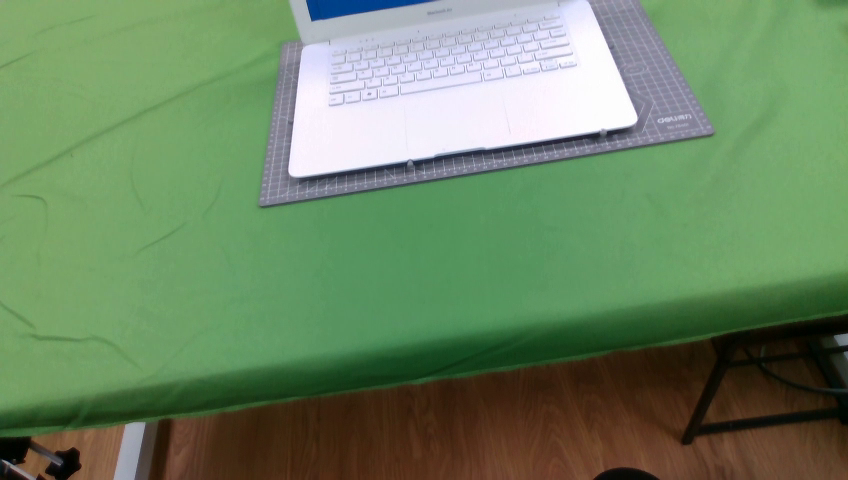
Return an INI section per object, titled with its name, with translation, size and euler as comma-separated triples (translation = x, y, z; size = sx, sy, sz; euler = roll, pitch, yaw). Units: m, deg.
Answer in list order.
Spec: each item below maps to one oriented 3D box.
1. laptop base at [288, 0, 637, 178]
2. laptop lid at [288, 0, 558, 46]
[laptop base]
translation = 0.029, -0.173, 0.674
size = 0.354, 0.023, 0.233
euler = -8, 53, 4
[laptop lid]
translation = 0.003, -0.350, 0.669
size = 0.356, 0.244, 0.013
euler = -9, 42, 5
